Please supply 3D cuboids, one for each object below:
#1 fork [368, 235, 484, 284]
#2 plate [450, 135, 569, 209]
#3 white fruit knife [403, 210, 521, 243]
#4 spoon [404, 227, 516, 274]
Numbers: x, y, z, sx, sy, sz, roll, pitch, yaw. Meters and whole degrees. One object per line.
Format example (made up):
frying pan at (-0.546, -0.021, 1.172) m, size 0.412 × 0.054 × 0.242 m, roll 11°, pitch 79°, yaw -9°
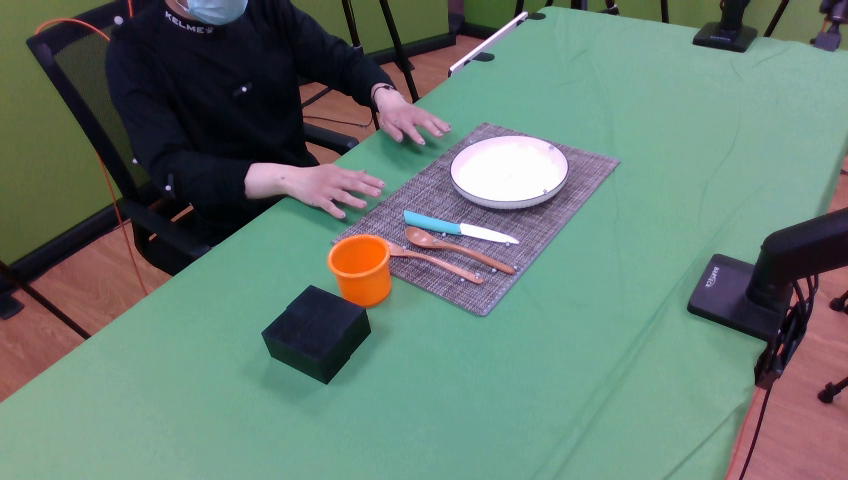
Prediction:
fork at (0.001, 0.030, 0.930) m, size 0.206 × 0.019 × 0.028 m, roll 18°, pitch 38°, yaw 29°
plate at (0.149, -0.117, 1.066) m, size 0.209 × 0.038 × 0.208 m, roll -4°, pitch 41°, yaw 4°
white fruit knife at (0.057, -0.019, 0.981) m, size 0.206 × 0.016 × 0.027 m, roll 12°, pitch 57°, yaw 20°
spoon at (0.053, 0.016, 0.936) m, size 0.192 × 0.022 × 0.042 m, roll 18°, pitch 32°, yaw 27°
